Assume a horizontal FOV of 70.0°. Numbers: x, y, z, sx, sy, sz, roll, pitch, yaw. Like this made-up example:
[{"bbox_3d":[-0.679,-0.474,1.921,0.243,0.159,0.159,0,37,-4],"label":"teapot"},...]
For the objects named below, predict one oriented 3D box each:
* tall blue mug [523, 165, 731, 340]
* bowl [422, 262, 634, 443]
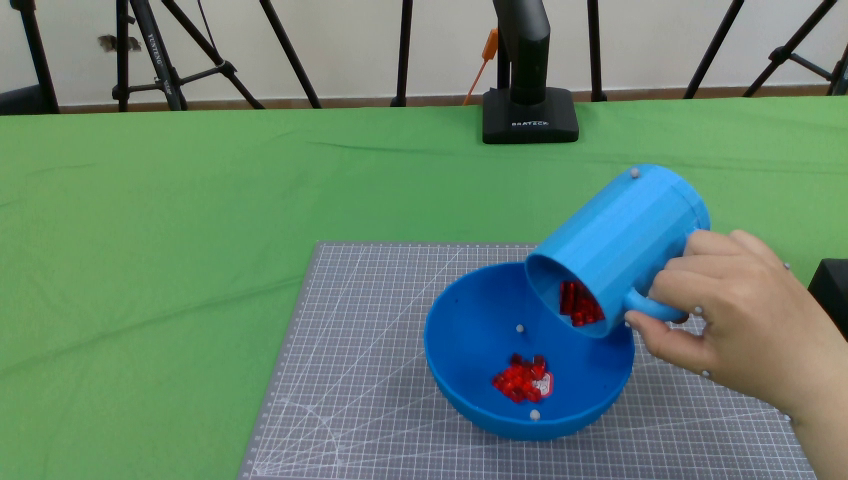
[{"bbox_3d":[0.141,0.008,0.416,0.108,0.078,0.107,-39,10,-17],"label":"tall blue mug"},{"bbox_3d":[0.075,0.096,0.459,0.151,0.077,0.150,-2,41,2],"label":"bowl"}]
